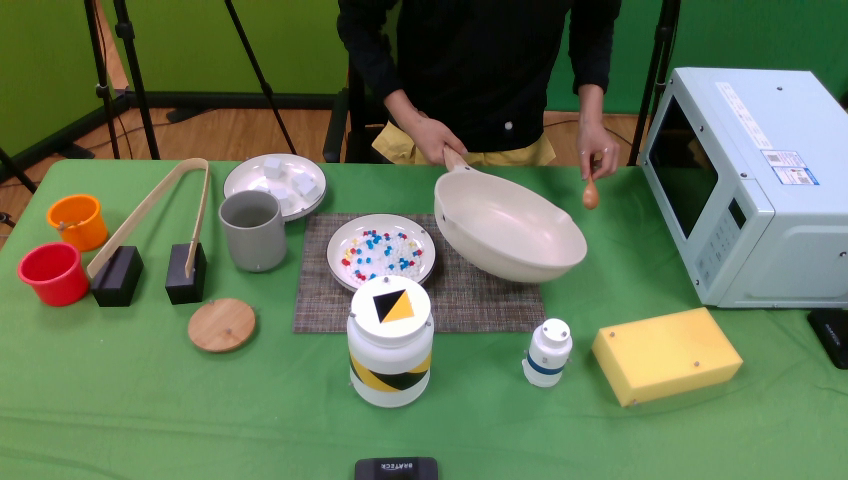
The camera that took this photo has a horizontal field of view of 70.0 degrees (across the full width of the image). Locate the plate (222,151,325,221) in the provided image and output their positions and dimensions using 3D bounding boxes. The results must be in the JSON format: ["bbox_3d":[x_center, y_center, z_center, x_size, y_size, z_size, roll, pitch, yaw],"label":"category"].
[{"bbox_3d":[-0.310,-0.106,1.263,0.208,0.039,0.206,2,47,-2],"label":"plate"}]

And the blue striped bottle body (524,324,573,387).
[{"bbox_3d":[0.200,0.178,0.970,0.063,0.121,0.062,2,46,-1],"label":"blue striped bottle body"}]

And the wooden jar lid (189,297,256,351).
[{"bbox_3d":[-0.342,0.145,1.033,0.108,0.021,0.107,2,45,-2],"label":"wooden jar lid"}]

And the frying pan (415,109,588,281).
[{"bbox_3d":[0.101,-0.099,1.141,0.308,0.103,0.484,-1,46,-37],"label":"frying pan"}]

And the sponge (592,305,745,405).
[{"bbox_3d":[0.405,0.190,1.014,0.207,0.061,0.117,-10,48,-12],"label":"sponge"}]

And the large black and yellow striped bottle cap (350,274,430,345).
[{"bbox_3d":[-0.048,0.097,0.868,0.115,0.019,0.114,3,48,-3],"label":"large black and yellow striped bottle cap"}]

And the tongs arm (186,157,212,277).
[{"bbox_3d":[-0.445,-0.058,1.168,0.051,0.026,0.382,-5,37,-6],"label":"tongs arm"}]

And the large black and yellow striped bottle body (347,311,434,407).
[{"bbox_3d":[-0.052,0.157,0.929,0.131,0.185,0.130,2,47,-2],"label":"large black and yellow striped bottle body"}]

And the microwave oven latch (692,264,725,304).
[{"bbox_3d":[0.522,0.082,1.116,0.030,0.029,0.078,2,46,-1],"label":"microwave oven latch"}]

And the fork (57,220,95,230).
[{"bbox_3d":[-0.624,-0.027,1.087,0.028,0.207,0.018,-3,92,-17],"label":"fork"}]

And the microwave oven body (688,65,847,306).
[{"bbox_3d":[0.669,-0.111,1.176,0.326,0.261,0.439,0,46,-3],"label":"microwave oven body"}]

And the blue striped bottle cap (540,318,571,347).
[{"bbox_3d":[0.203,0.142,0.933,0.044,0.021,0.044,3,49,-3],"label":"blue striped bottle cap"}]

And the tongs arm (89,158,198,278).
[{"bbox_3d":[-0.529,-0.057,1.164,0.028,0.028,0.385,1,36,8],"label":"tongs arm"}]

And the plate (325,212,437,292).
[{"bbox_3d":[-0.080,0.030,1.143,0.209,0.038,0.208,3,46,-3],"label":"plate"}]

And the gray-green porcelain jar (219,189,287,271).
[{"bbox_3d":[-0.310,-0.014,1.113,0.106,0.127,0.105,2,46,-2],"label":"gray-green porcelain jar"}]

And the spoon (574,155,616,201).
[{"bbox_3d":[0.354,-0.132,1.242,0.021,0.042,0.193,22,41,36],"label":"spoon"}]

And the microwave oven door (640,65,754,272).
[{"bbox_3d":[0.524,-0.148,1.193,0.039,0.245,0.353,0,47,-3],"label":"microwave oven door"}]
